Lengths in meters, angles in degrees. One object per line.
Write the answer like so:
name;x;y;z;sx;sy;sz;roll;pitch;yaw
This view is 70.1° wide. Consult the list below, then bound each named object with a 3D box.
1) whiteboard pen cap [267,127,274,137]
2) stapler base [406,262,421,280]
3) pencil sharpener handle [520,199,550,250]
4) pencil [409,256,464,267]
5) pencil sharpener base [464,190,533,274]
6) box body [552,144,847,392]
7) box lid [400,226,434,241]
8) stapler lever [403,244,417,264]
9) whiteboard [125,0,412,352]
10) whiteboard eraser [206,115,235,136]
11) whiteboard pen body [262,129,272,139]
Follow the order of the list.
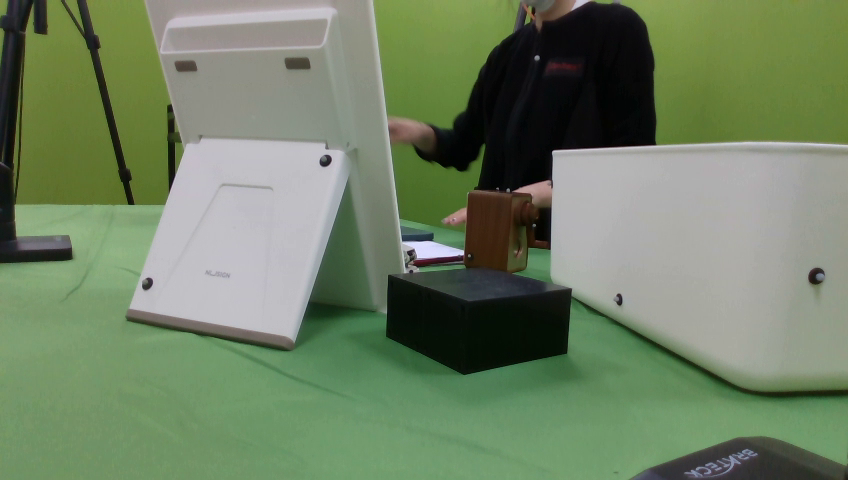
whiteboard pen cap;-0.340;-0.239;1.338;0.018;0.018;0.033;1;-1;-15
stapler base;-0.069;0.027;0.759;0.130;0.024;0.041;9;13;23
pencil sharpener handle;0.147;-0.019;0.785;0.030;0.068;0.036;8;25;36
pencil;0.041;0.028;0.850;0.012;0.012;0.195;10;10;44
pencil sharpener base;0.102;-0.012;0.813;0.076;0.107;0.061;8;9;36
box body;0.290;0.002;0.549;0.255;0.160;0.363;2;7;-10
box lid;-0.196;-0.015;1.105;0.373;0.015;0.262;-1;7;-32
stapler lever;-0.066;0.003;0.755;0.117;0.040;0.027;9;13;23
whiteboard;-0.151;-0.050;0.471;0.216;0.305;0.144;6;27;24
whiteboard eraser;-0.444;-0.250;1.322;0.056;0.042;0.112;-2;8;-15
whiteboard pen body;-0.361;-0.245;1.393;0.017;0.017;0.140;0;5;-20
